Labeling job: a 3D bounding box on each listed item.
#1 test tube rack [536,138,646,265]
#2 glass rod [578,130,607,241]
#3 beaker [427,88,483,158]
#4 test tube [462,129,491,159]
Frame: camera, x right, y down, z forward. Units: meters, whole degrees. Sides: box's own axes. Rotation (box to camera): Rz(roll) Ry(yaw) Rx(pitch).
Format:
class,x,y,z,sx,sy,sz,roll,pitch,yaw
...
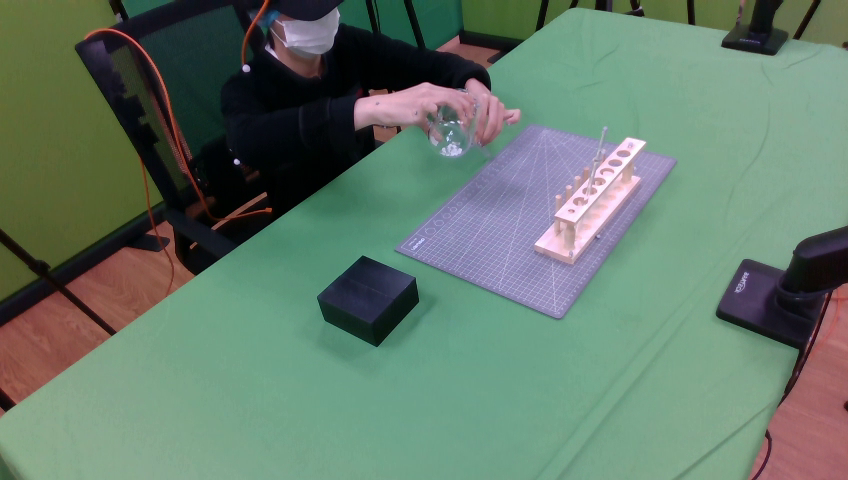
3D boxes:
class,x,y,z,sx,sy,sz,roll,pitch,yaw
test tube rack,0.268,-0.071,0.964,0.066,0.085,0.243,23,49,32
glass rod,0.240,-0.071,0.866,0.008,0.200,0.008,0,43,1
beaker,0.048,-0.179,0.952,0.073,0.084,0.100,-6,37,23
test tube,0.096,-0.168,1.077,0.017,0.151,0.017,-3,82,20
